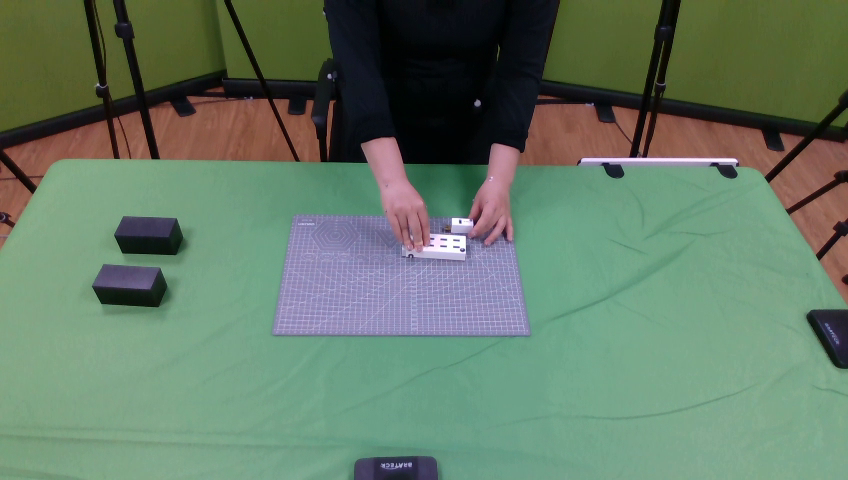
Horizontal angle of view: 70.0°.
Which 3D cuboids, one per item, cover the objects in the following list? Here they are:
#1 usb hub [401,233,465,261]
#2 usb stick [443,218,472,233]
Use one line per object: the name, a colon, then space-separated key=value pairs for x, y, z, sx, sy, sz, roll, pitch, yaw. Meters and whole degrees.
usb hub: x=0.018 y=0.013 z=1.180 sx=0.125 sy=0.025 sz=0.049 roll=4 pitch=46 yaw=0
usb stick: x=0.068 y=-0.029 z=1.223 sx=0.059 sy=0.027 sz=0.021 roll=1 pitch=52 yaw=1
